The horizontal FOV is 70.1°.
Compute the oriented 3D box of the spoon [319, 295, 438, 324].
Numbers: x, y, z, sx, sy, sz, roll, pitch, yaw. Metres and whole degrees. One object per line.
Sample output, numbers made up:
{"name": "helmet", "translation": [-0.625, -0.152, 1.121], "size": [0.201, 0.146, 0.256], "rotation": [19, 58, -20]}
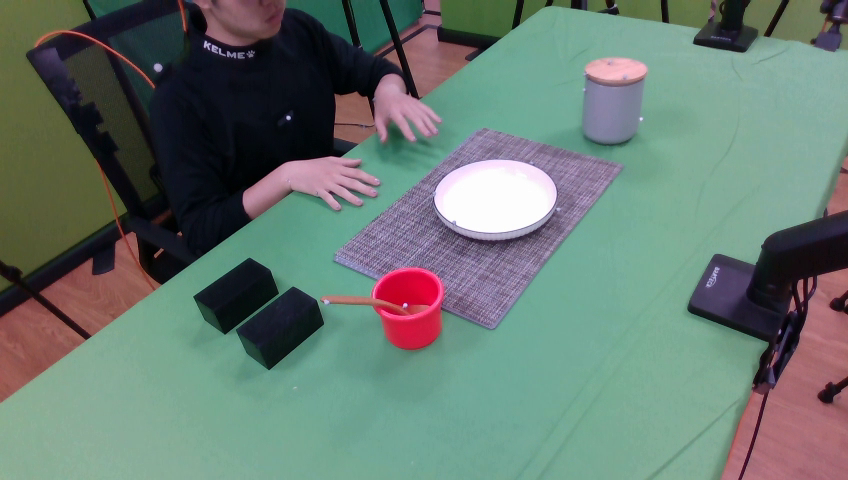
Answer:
{"name": "spoon", "translation": [-0.055, 0.086, 0.784], "size": [0.195, 0.021, 0.041], "rotation": [19, 19, -44]}

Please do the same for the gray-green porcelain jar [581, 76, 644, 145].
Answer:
{"name": "gray-green porcelain jar", "translation": [0.350, -0.251, 1.131], "size": [0.106, 0.127, 0.105], "rotation": [-4, 41, 4]}

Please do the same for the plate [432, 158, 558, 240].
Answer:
{"name": "plate", "translation": [0.118, -0.066, 1.013], "size": [0.207, 0.039, 0.206], "rotation": [-4, 41, 4]}

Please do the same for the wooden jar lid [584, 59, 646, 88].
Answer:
{"name": "wooden jar lid", "translation": [0.343, -0.298, 1.089], "size": [0.108, 0.021, 0.108], "rotation": [-4, 38, 3]}
